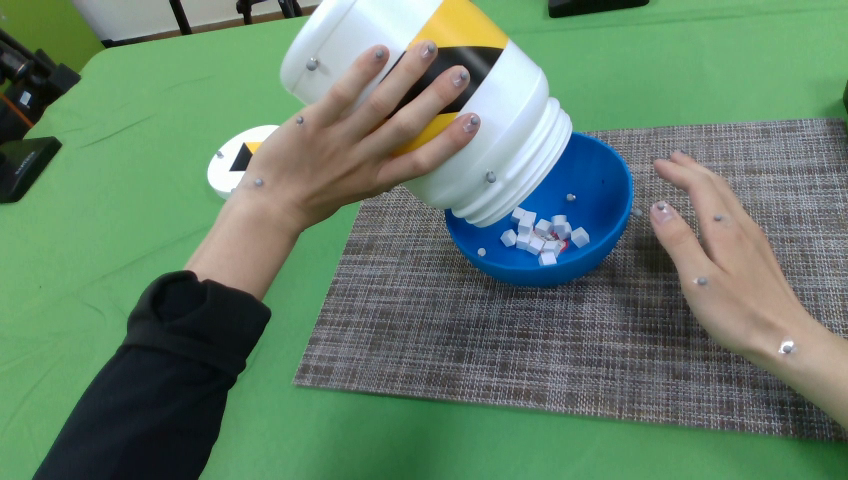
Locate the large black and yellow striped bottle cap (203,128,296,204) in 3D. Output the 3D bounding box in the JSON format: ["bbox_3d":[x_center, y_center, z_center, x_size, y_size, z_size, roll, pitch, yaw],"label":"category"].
[{"bbox_3d":[-0.212,-0.092,0.733,0.115,0.019,0.114,-9,50,11],"label":"large black and yellow striped bottle cap"}]

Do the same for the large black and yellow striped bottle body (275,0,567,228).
[{"bbox_3d":[0.002,-0.105,0.443,0.131,0.185,0.130,-47,15,17],"label":"large black and yellow striped bottle body"}]

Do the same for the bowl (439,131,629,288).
[{"bbox_3d":[0.095,-0.013,0.509,0.151,0.077,0.150,-10,50,12],"label":"bowl"}]
